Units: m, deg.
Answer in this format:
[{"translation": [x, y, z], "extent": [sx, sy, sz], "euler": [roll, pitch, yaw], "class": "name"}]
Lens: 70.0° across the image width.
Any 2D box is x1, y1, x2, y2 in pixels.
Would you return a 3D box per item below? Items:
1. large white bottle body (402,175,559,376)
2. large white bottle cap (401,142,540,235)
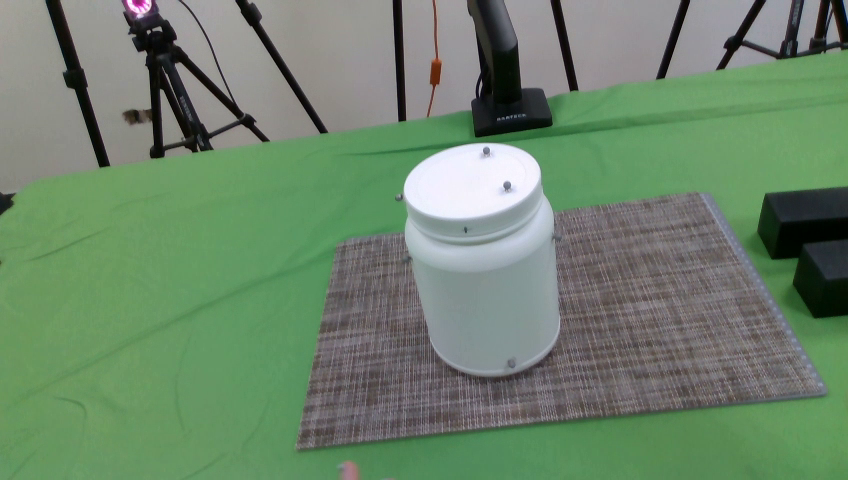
[{"translation": [0.053, 0.020, 0.554], "extent": [0.130, 0.186, 0.129], "euler": [-8, 38, 7], "class": "large white bottle body"}, {"translation": [0.037, -0.045, 0.500], "extent": [0.115, 0.018, 0.113], "euler": [-8, 38, 6], "class": "large white bottle cap"}]
